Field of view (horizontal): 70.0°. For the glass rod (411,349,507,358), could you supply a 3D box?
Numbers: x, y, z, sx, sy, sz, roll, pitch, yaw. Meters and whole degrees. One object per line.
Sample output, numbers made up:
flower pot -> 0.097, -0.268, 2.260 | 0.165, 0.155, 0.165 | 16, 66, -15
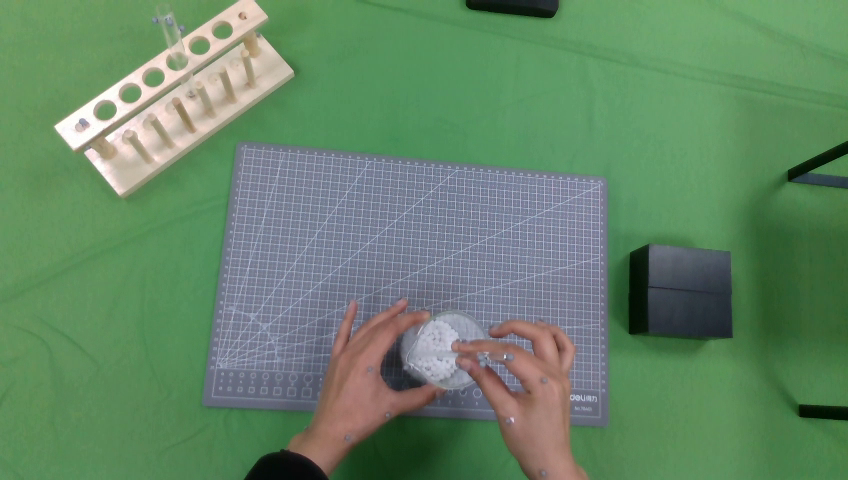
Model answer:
glass rod -> 0.025, 0.103, 0.553 | 0.008, 0.199, 0.008 | 4, 79, -22

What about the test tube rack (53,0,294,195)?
test tube rack -> -0.264, -0.159, 0.669 | 0.242, 0.085, 0.066 | -40, 85, -13

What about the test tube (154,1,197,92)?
test tube -> -0.254, -0.195, 0.627 | 0.017, 0.150, 0.017 | 3, 74, -10

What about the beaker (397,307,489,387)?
beaker -> 0.012, 0.110, 0.615 | 0.084, 0.100, 0.073 | -11, 82, -15
